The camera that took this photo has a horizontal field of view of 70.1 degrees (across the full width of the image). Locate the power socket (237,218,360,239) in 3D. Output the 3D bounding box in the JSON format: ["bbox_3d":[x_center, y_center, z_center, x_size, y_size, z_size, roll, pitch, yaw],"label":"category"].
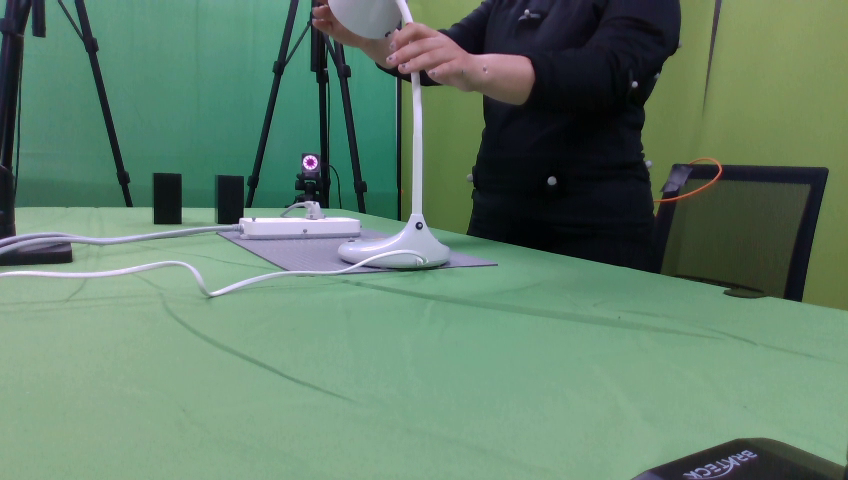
[{"bbox_3d":[-0.220,-0.023,1.080,0.228,0.032,0.072,-2,8,-33],"label":"power socket"}]

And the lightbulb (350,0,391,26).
[{"bbox_3d":[-0.071,-0.354,0.866,0.060,0.059,0.107,0,-20,-20],"label":"lightbulb"}]

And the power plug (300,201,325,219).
[{"bbox_3d":[-0.207,-0.046,1.120,0.035,0.052,0.072,1,4,-21],"label":"power plug"}]

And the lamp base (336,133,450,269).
[{"bbox_3d":[-0.032,-0.057,0.830,0.161,0.180,0.178,-2,11,-34],"label":"lamp base"}]

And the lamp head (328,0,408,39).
[{"bbox_3d":[-0.063,-0.356,0.841,0.113,0.112,0.122,-1,-14,-29],"label":"lamp head"}]
